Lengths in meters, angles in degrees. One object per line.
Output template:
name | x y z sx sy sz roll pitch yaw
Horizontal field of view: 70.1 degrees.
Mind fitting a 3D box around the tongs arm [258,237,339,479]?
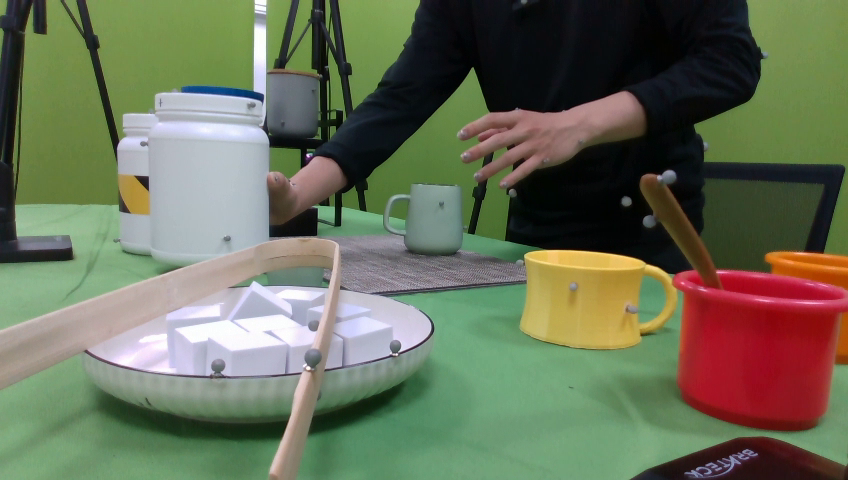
tongs arm | -0.074 0.040 0.345 0.051 0.026 0.384 -2 9 -3

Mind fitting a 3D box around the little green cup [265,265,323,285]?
little green cup | -0.134 0.034 0.627 0.061 0.038 0.061 3 6 0

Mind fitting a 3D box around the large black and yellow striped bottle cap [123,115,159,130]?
large black and yellow striped bottle cap | -0.353 -0.159 0.838 0.115 0.019 0.115 2 6 0

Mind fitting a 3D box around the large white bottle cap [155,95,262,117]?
large white bottle cap | -0.245 -0.152 0.692 0.115 0.018 0.115 2 8 0

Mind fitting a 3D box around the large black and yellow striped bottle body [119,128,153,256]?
large black and yellow striped bottle body | -0.355 -0.076 0.850 0.131 0.184 0.130 2 8 0

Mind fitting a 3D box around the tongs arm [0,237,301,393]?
tongs arm | -0.158 0.039 0.347 0.028 0.028 0.388 -3 8 11

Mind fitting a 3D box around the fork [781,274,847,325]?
fork | 0.332 0.018 0.443 0.028 0.018 0.207 -3 -35 -16

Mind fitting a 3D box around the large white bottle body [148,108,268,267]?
large white bottle body | -0.248 -0.069 0.704 0.131 0.184 0.130 2 8 0

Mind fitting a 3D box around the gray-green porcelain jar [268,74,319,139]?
gray-green porcelain jar | -0.277 -0.279 1.280 0.106 0.126 0.106 2 8 0

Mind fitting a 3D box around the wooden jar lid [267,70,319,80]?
wooden jar lid | -0.275 -0.339 1.271 0.108 0.020 0.108 5 6 0

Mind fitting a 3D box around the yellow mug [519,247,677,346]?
yellow mug | 0.148 0.045 0.513 0.131 0.064 0.100 3 7 0

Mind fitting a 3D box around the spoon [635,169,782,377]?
spoon | 0.161 0.026 0.346 0.021 0.194 0.041 -51 32 -19

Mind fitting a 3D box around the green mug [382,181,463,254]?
green mug | -0.001 -0.036 0.922 0.126 0.105 0.092 0 8 -16

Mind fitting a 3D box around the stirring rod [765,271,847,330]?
stirring rod | 0.352 0.020 0.481 0.176 0.006 0.014 -40 -7 17

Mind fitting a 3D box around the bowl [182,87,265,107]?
bowl | -0.383 -0.244 1.158 0.151 0.077 0.151 2 7 0

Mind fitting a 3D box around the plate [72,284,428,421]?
plate | -0.102 0.066 0.381 0.208 0.039 0.207 3 7 0
